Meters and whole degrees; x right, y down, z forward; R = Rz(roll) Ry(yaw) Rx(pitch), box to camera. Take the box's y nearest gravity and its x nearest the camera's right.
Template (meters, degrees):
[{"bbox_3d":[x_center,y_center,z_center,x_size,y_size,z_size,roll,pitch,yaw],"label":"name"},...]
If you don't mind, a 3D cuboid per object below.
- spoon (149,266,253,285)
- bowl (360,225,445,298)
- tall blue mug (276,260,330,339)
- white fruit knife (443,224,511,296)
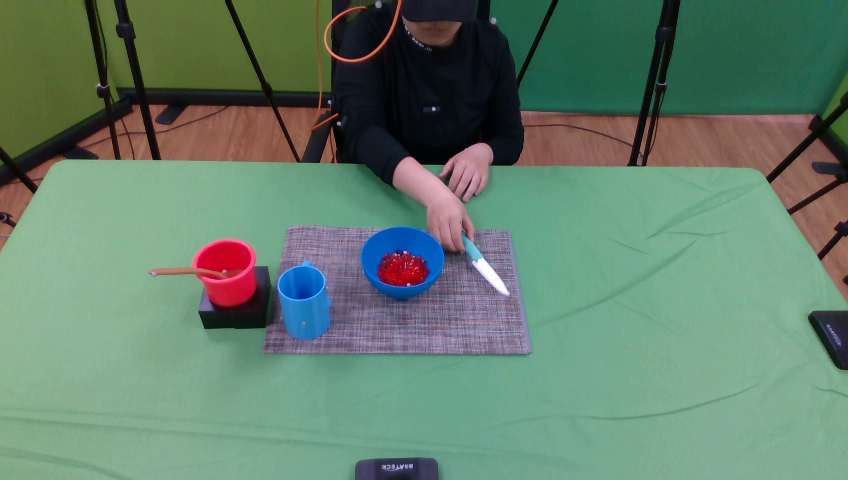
[{"bbox_3d":[-0.351,0.052,0.968,0.041,0.021,0.194,41,12,28],"label":"spoon"},{"bbox_3d":[-0.040,0.053,1.099,0.151,0.077,0.150,2,46,-2],"label":"bowl"},{"bbox_3d":[-0.208,0.094,1.025,0.078,0.108,0.106,-21,51,-21],"label":"tall blue mug"},{"bbox_3d":[0.102,0.035,1.151,0.027,0.016,0.206,-39,55,0],"label":"white fruit knife"}]
